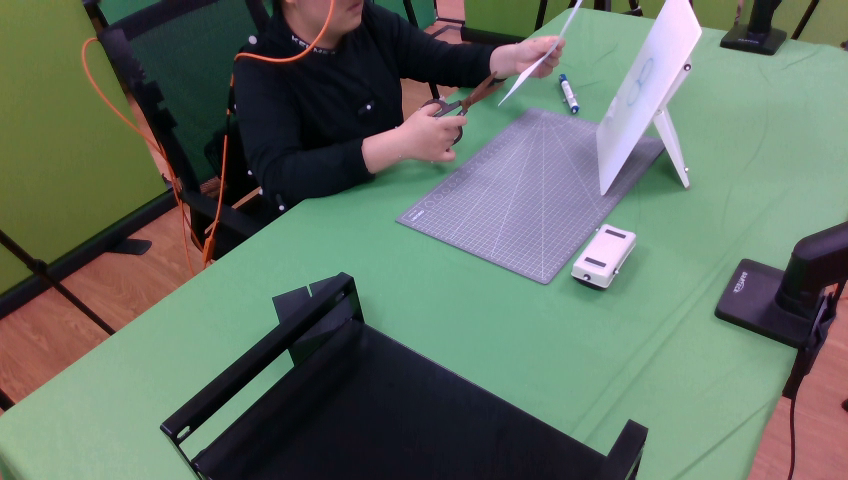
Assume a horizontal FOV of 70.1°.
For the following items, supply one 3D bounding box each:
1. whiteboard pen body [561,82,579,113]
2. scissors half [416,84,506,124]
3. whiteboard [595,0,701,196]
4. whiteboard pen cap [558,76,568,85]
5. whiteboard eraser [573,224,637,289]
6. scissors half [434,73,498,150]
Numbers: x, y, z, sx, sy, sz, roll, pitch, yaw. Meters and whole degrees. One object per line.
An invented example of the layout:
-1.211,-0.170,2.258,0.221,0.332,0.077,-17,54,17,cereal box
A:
0.310,-0.312,1.297,0.017,0.017,0.140,-6,42,2,whiteboard pen body
0.066,-0.253,1.106,0.175,0.040,0.013,-15,14,15,scissors half
0.421,-0.227,1.010,0.144,0.305,0.216,18,42,-2,whiteboard
0.310,-0.350,1.340,0.018,0.018,0.033,-6,41,2,whiteboard pen cap
0.267,0.025,0.891,0.055,0.042,0.113,19,47,31,whiteboard eraser
0.079,-0.234,1.110,0.040,0.175,0.013,36,22,-7,scissors half
